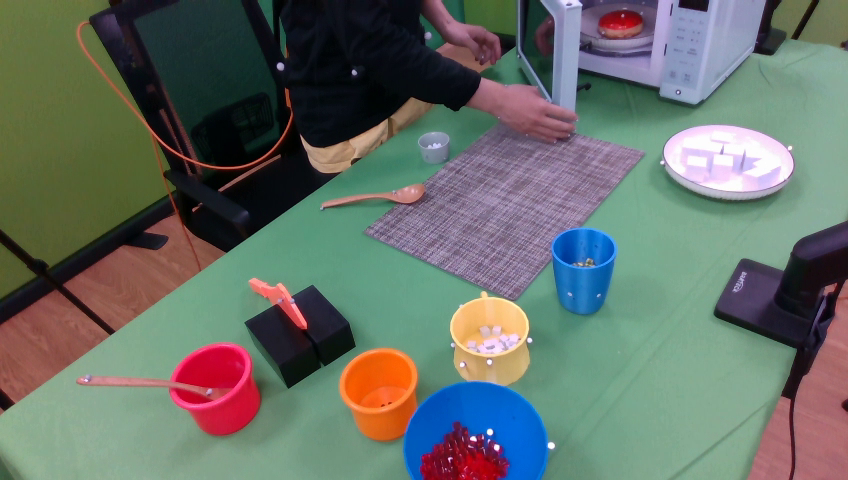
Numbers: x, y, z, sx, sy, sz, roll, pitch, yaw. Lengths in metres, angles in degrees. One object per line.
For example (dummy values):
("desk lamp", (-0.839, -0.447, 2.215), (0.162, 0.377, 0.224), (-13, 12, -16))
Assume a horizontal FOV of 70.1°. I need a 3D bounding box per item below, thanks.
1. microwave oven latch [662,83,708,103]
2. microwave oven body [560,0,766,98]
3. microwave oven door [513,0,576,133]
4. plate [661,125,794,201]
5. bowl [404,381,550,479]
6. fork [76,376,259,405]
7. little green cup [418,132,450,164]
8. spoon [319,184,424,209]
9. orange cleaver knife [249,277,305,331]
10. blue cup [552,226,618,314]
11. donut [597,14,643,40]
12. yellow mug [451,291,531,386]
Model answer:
("microwave oven latch", (0.519, -0.297, 1.204), (0.078, 0.029, 0.030), (29, 53, 36))
("microwave oven body", (0.472, -0.513, 1.317), (0.438, 0.261, 0.327), (26, 51, 34))
("microwave oven door", (0.238, -0.410, 1.223), (0.039, 0.245, 0.353), (-9, 40, -2))
("plate", (0.513, -0.128, 1.035), (0.207, 0.039, 0.206), (-4, 40, 4))
("bowl", (0.058, 0.235, 0.645), (0.151, 0.077, 0.150), (-4, 39, 4))
("fork", (-0.295, 0.176, 0.716), (0.209, 0.018, 0.028), (19, 27, -37))
("little green cup", (0.020, -0.177, 1.168), (0.061, 0.039, 0.061), (-2, 41, 3))
("spoon", (-0.094, -0.076, 1.074), (0.193, 0.022, 0.041), (-5, 56, 6))
("orange cleaver knife", (-0.210, 0.088, 0.856), (0.012, 0.077, 0.210), (-28, 15, -25))
("blue cup", (0.218, 0.047, 0.825), (0.092, 0.101, 0.092), (-6, 39, 5))
("donut", (0.436, -0.476, 1.345), (0.099, 0.048, 0.098), (-6, 29, 4))
("yellow mug", (0.085, 0.120, 0.786), (0.100, 0.064, 0.130), (-7, 39, 1))
